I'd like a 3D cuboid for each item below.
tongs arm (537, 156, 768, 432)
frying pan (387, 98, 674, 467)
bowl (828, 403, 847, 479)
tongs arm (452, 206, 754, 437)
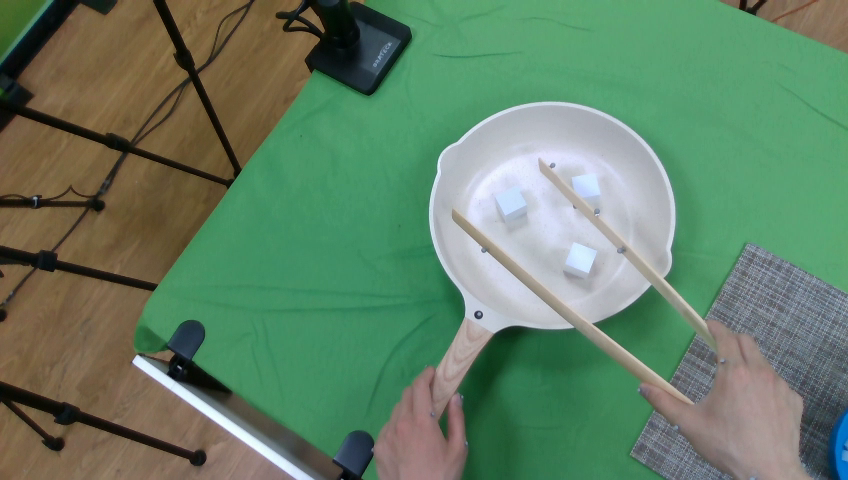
[{"bbox_3d":[0.216,0.032,0.648,0.051,0.027,0.380,-28,52,-11],"label":"tongs arm"},{"bbox_3d":[0.096,0.048,0.724,0.305,0.103,0.486,30,71,15],"label":"frying pan"},{"bbox_3d":[0.491,0.227,0.631,0.151,0.077,0.150,-2,73,7],"label":"bowl"},{"bbox_3d":[0.156,0.069,0.633,0.028,0.028,0.383,-34,53,-21],"label":"tongs arm"}]
